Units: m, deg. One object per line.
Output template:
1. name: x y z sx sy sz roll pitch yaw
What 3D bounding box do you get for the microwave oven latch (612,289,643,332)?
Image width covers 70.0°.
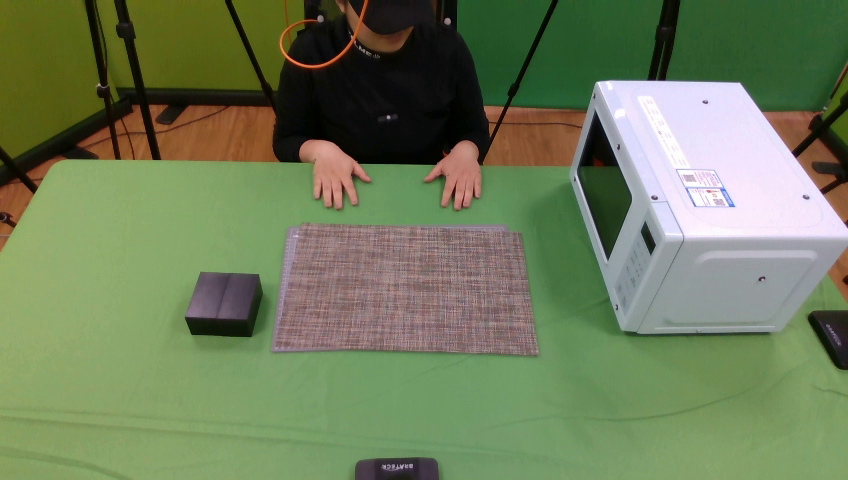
1. microwave oven latch: 0.357 0.124 1.068 0.030 0.029 0.078 0 45 -3

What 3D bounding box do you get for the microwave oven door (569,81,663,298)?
1. microwave oven door: 0.353 -0.104 1.147 0.039 0.245 0.353 0 46 -4

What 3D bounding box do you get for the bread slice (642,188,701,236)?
1. bread slice: 0.494 -0.056 1.197 0.105 0.019 0.131 6 42 4

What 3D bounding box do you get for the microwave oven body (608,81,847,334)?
1. microwave oven body: 0.501 -0.070 1.132 0.326 0.261 0.438 -1 45 -4

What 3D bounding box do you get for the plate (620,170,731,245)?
1. plate: 0.490 -0.060 1.194 0.209 0.038 0.208 3 45 -2
